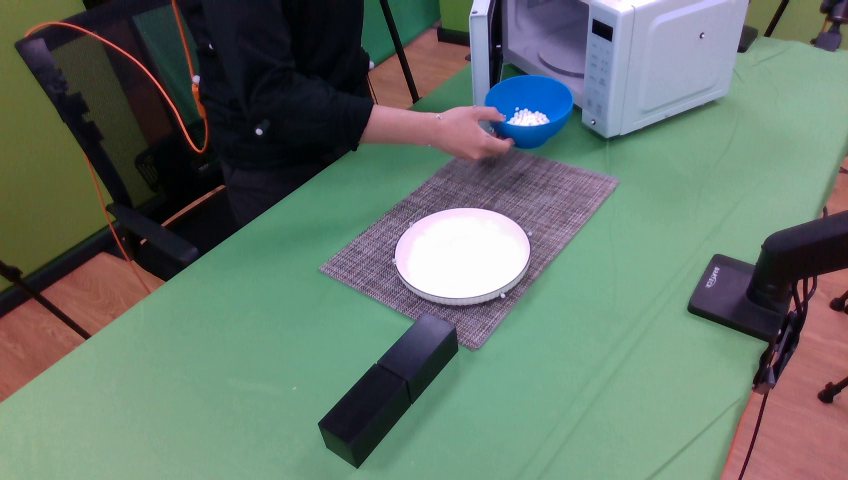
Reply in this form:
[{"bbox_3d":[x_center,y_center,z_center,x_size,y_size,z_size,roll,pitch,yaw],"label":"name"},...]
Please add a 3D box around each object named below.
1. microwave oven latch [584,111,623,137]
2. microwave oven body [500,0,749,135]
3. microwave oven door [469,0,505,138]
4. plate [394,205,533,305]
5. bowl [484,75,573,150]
[{"bbox_3d":[0.337,-0.222,1.142,0.030,0.029,0.078,-21,42,-14],"label":"microwave oven latch"},{"bbox_3d":[0.382,-0.444,1.246,0.327,0.261,0.437,-22,42,-16],"label":"microwave oven body"},{"bbox_3d":[0.133,-0.403,1.225,0.039,0.245,0.354,1,41,11],"label":"microwave oven door"},{"bbox_3d":[0.059,0.025,0.915,0.207,0.039,0.206,-4,41,4],"label":"plate"},{"bbox_3d":[0.181,-0.211,1.050,0.151,0.077,0.150,-4,47,5],"label":"bowl"}]
